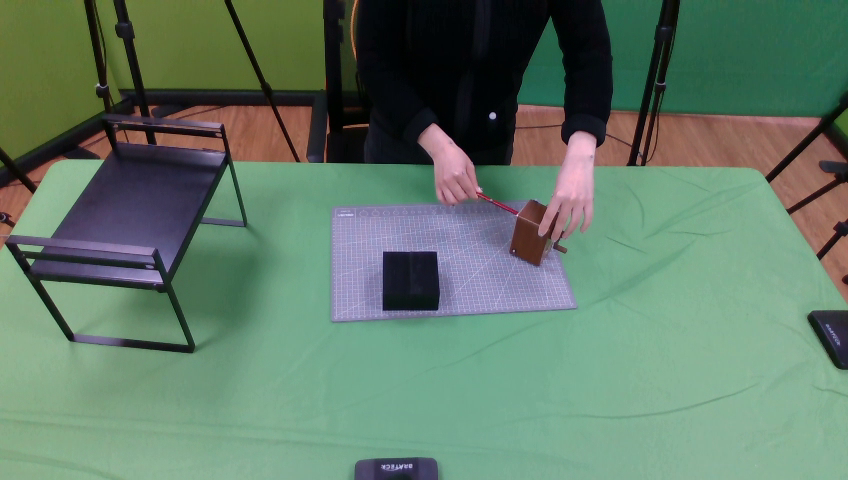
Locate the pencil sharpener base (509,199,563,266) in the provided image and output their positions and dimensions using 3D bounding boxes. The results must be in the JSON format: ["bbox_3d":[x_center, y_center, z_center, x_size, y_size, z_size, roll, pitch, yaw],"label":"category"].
[{"bbox_3d":[0.216,-0.012,1.160,0.076,0.107,0.061,27,50,21],"label":"pencil sharpener base"}]

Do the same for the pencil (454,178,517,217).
[{"bbox_3d":[0.139,-0.070,1.169,0.193,0.012,0.012,33,52,19],"label":"pencil"}]

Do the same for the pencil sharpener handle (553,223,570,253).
[{"bbox_3d":[0.261,-0.002,1.135,0.030,0.068,0.036,27,65,21],"label":"pencil sharpener handle"}]
